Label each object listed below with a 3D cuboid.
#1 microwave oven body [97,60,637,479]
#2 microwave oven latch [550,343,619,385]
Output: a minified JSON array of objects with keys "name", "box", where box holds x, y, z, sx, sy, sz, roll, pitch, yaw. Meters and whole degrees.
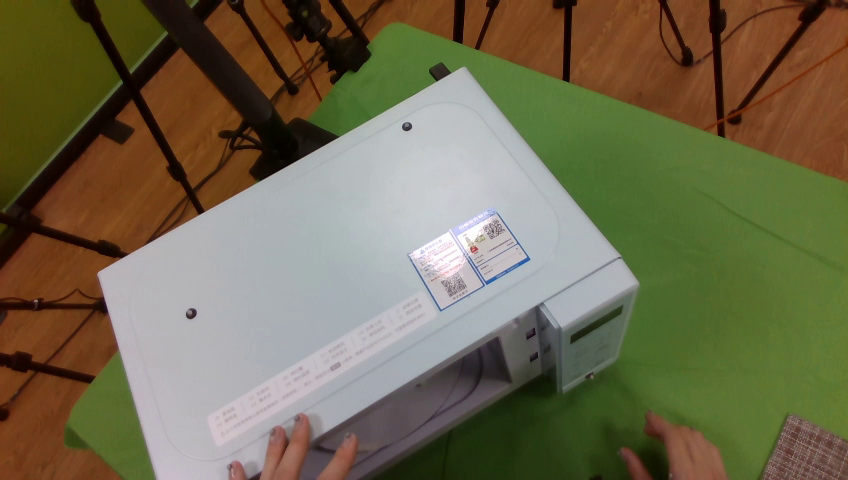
[{"name":"microwave oven body","box":[-0.057,0.073,0.671,0.442,0.262,0.323,-31,62,-3]},{"name":"microwave oven latch","box":[0.185,0.135,0.699,0.079,0.030,0.030,-29,62,-2]}]
